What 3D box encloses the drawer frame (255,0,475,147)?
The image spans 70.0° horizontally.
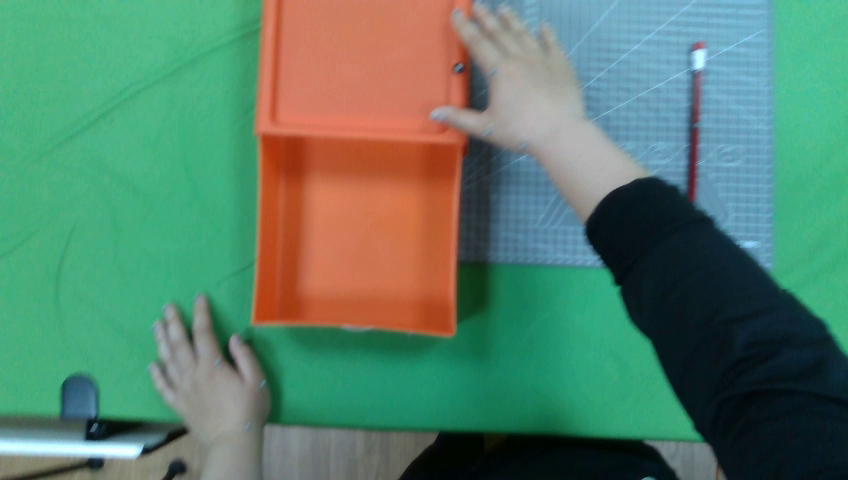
[{"bbox_3d":[-0.052,-0.203,0.595,0.201,0.083,0.213,3,88,4],"label":"drawer frame"}]

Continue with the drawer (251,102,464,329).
[{"bbox_3d":[-0.061,-0.023,0.597,0.194,0.073,0.211,3,92,4],"label":"drawer"}]

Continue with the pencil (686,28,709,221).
[{"bbox_3d":[0.274,-0.116,0.611,0.012,0.012,0.194,4,91,4],"label":"pencil"}]
